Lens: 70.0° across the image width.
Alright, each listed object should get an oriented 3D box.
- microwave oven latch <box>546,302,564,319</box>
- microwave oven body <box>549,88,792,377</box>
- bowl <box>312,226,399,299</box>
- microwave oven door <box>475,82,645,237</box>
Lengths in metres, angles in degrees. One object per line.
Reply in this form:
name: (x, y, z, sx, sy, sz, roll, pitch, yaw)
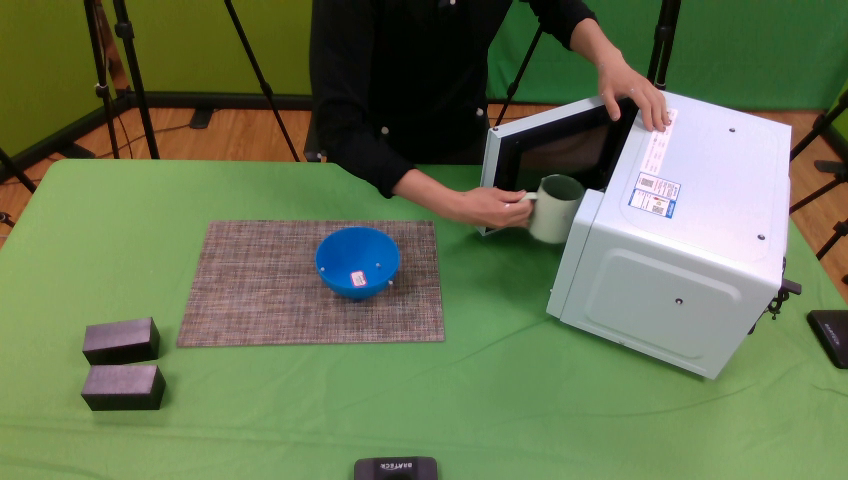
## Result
microwave oven latch: (0.242, 0.102, 1.081, 0.030, 0.029, 0.079, 22, 48, 17)
microwave oven body: (0.456, -0.028, 1.088, 0.325, 0.261, 0.440, 20, 47, 16)
bowl: (-0.121, 0.054, 1.091, 0.151, 0.077, 0.150, 2, 46, -2)
microwave oven door: (0.269, -0.160, 1.193, 0.356, 0.245, 0.039, -21, 50, -22)
